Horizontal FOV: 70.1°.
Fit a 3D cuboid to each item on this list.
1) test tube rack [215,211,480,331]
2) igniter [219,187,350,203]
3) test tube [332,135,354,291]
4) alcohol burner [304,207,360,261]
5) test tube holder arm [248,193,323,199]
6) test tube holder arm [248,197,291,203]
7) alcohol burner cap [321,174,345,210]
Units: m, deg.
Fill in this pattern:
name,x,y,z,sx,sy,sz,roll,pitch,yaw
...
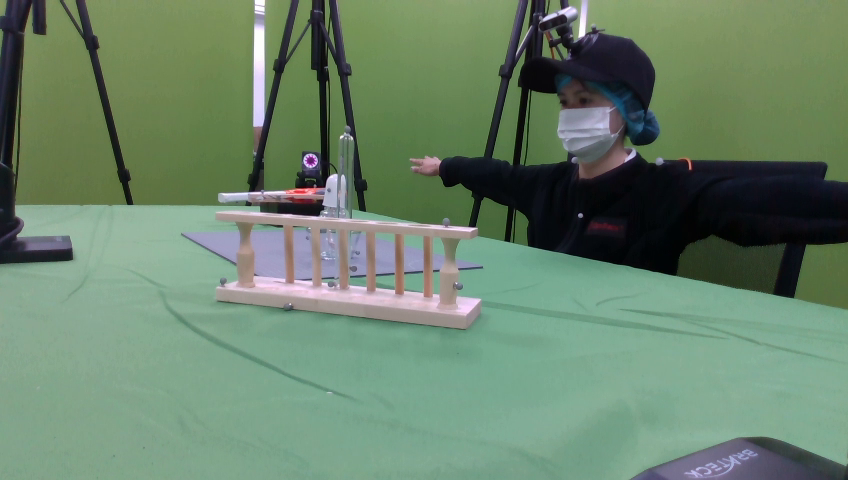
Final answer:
name,x,y,z,sx,sy,sz,roll,pitch,yaw
test tube rack,-0.071,0.023,0.565,0.242,0.085,0.067,5,7,16
igniter,-0.285,-0.095,1.268,0.278,0.025,0.057,-6,12,-34
test tube,-0.078,-0.025,0.581,0.017,0.150,0.017,3,7,0
alcohol burner,-0.126,-0.031,0.838,0.078,0.119,0.078,3,5,0
test tube holder arm,-0.268,-0.089,1.218,0.179,0.013,0.015,-6,18,-40
test tube holder arm,-0.303,-0.080,1.191,0.088,0.010,0.015,-7,18,-39
alcohol burner cap,-0.124,-0.067,0.833,0.034,0.048,0.034,7,7,-1
